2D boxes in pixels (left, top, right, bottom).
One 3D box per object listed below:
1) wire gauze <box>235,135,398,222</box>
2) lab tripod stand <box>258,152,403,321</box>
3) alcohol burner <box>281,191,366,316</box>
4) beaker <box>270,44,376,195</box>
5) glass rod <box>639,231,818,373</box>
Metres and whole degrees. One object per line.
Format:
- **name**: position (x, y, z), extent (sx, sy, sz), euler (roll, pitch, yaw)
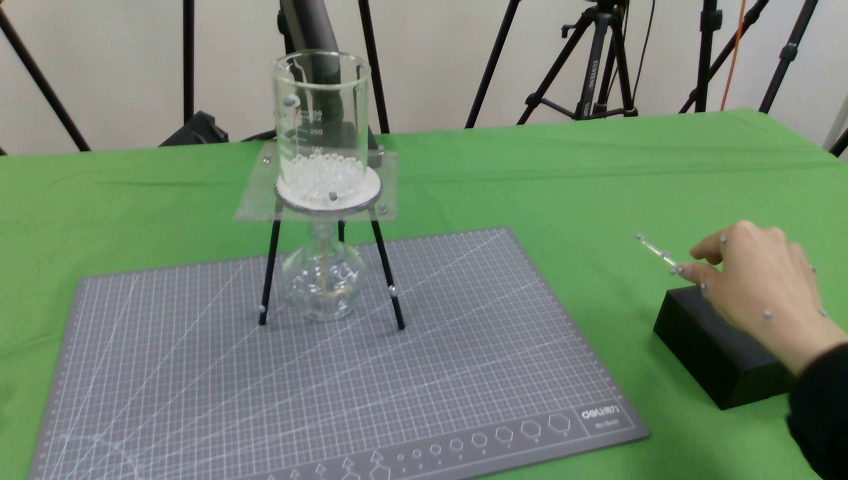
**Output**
- **wire gauze**: position (-0.082, -0.053, 0.503), extent (0.121, 0.011, 0.124), euler (2, 39, -3)
- **lab tripod stand**: position (-0.080, 0.000, 0.543), extent (0.148, 0.132, 0.147), euler (4, 36, -3)
- **alcohol burner**: position (-0.091, 0.009, 0.546), extent (0.078, 0.120, 0.077), euler (2, 35, -1)
- **beaker**: position (-0.081, -0.093, 0.475), extent (0.083, 0.101, 0.074), euler (24, 40, 23)
- **glass rod**: position (0.264, 0.048, 0.544), extent (0.008, 0.008, 0.197), euler (-15, 42, -24)
